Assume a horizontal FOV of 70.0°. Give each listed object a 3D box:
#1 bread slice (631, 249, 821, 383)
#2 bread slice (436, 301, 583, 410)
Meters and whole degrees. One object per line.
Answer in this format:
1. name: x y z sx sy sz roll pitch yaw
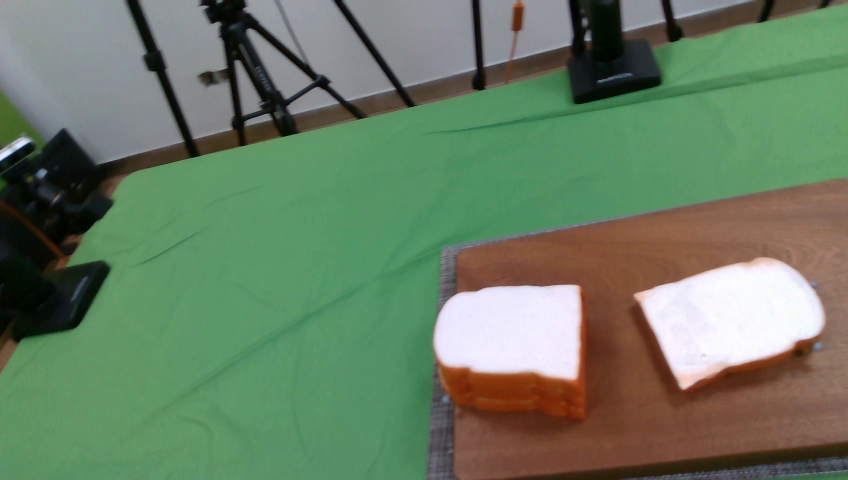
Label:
1. bread slice: 0.257 0.060 0.512 0.131 0.019 0.104 -21 40 11
2. bread slice: 0.078 0.099 0.553 0.134 0.018 0.106 0 45 19
